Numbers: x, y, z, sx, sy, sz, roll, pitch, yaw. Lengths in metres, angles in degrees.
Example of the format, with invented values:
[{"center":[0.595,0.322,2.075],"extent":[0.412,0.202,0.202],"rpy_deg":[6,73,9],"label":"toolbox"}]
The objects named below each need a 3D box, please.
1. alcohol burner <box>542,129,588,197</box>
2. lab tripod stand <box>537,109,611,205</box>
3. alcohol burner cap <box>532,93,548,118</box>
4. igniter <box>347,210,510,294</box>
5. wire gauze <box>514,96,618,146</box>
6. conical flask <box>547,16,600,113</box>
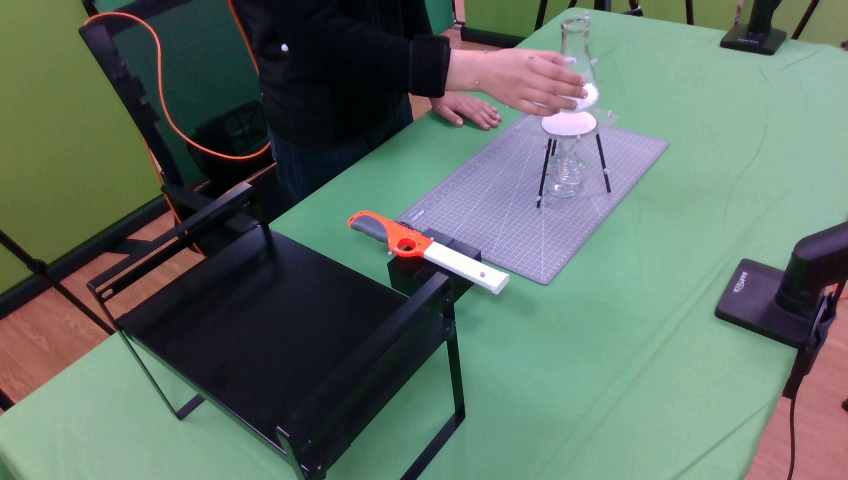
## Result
[{"center":[0.239,-0.133,1.021],"extent":[0.078,0.119,0.077],"rpy_deg":[-4,38,4],"label":"alcohol burner"},{"center":[0.244,-0.141,1.014],"extent":[0.148,0.132,0.147],"rpy_deg":[-3,39,3],"label":"lab tripod stand"},{"center":[0.240,-0.281,1.251],"extent":[0.034,0.048,0.033],"rpy_deg":[-4,42,4],"label":"alcohol burner cap"},{"center":[-0.001,0.012,0.884],"extent":[0.274,0.025,0.057],"rpy_deg":[24,53,28],"label":"igniter"},{"center":[0.229,-0.190,0.969],"extent":[0.120,0.011,0.125],"rpy_deg":[26,50,33],"label":"wire gauze"},{"center":[0.207,-0.243,0.834],"extent":[0.075,0.122,0.075],"rpy_deg":[-6,44,6],"label":"conical flask"}]
